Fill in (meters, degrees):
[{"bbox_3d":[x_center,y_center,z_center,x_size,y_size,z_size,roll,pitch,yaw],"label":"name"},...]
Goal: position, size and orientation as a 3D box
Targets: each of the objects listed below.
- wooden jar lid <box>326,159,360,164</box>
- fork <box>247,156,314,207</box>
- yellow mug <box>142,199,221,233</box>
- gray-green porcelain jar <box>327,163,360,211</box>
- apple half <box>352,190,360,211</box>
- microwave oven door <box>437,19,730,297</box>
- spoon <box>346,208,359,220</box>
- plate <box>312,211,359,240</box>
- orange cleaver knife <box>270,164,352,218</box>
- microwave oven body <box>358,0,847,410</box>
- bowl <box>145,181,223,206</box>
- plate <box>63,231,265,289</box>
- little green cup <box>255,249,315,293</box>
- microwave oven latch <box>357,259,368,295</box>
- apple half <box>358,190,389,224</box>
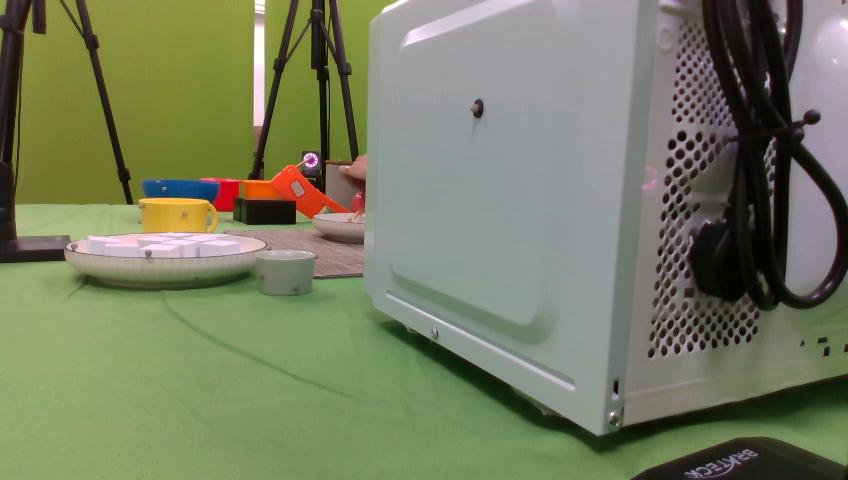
[{"bbox_3d":[-0.185,-0.187,1.481,0.108,0.020,0.108,4,6,0],"label":"wooden jar lid"},{"bbox_3d":[-0.360,-0.147,1.522,0.207,0.018,0.028,-43,14,-7],"label":"fork"},{"bbox_3d":[-0.372,-0.030,0.947,0.099,0.064,0.131,5,7,30],"label":"yellow mug"},{"bbox_3d":[-0.187,-0.125,1.490,0.106,0.126,0.106,2,8,0],"label":"gray-green porcelain jar"},{"bbox_3d":[-0.120,-0.069,1.272,0.080,0.074,0.053,9,9,26],"label":"apple half"},{"bbox_3d":[0.180,-0.076,0.618,0.358,0.243,0.039,-2,9,-28],"label":"microwave oven door"},{"bbox_3d":[-0.123,-0.047,1.117,0.041,0.021,0.194,-7,17,18],"label":"spoon"},{"bbox_3d":[-0.091,-0.026,1.063,0.209,0.038,0.209,2,7,0],"label":"plate"},{"bbox_3d":[-0.240,-0.088,1.329,0.212,0.077,0.012,36,-9,-33],"label":"orange cleaver knife"},{"bbox_3d":[0.210,-0.051,0.471,0.444,0.260,0.324,-1,7,-28],"label":"microwave oven body"},{"bbox_3d":[-0.499,-0.081,1.261,0.151,0.077,0.151,2,8,0],"label":"bowl"},{"bbox_3d":[-0.288,0.021,0.687,0.208,0.039,0.207,2,8,0],"label":"plate"},{"bbox_3d":[-0.144,0.032,0.627,0.061,0.038,0.061,2,5,0],"label":"little green cup"},{"bbox_3d":[-0.019,0.031,0.529,0.079,0.029,0.030,-1,7,-26],"label":"microwave oven latch"},{"bbox_3d":[-0.103,-0.072,1.307,0.081,0.081,0.033,5,9,27],"label":"apple half"}]
